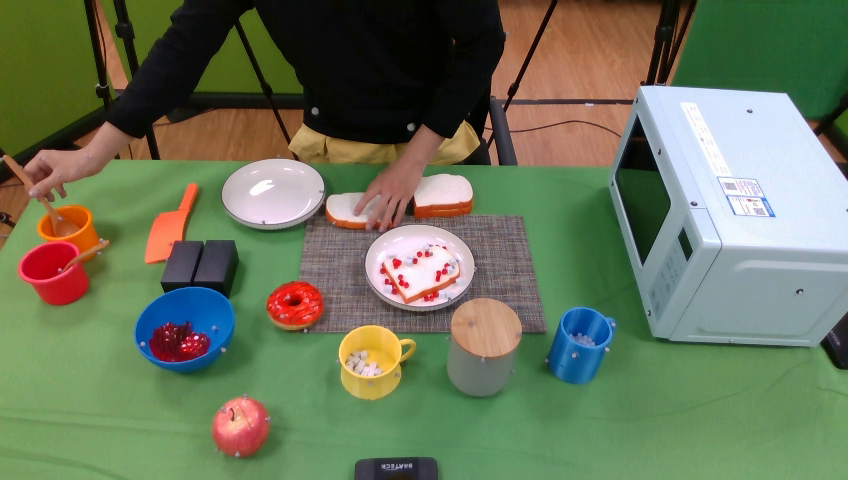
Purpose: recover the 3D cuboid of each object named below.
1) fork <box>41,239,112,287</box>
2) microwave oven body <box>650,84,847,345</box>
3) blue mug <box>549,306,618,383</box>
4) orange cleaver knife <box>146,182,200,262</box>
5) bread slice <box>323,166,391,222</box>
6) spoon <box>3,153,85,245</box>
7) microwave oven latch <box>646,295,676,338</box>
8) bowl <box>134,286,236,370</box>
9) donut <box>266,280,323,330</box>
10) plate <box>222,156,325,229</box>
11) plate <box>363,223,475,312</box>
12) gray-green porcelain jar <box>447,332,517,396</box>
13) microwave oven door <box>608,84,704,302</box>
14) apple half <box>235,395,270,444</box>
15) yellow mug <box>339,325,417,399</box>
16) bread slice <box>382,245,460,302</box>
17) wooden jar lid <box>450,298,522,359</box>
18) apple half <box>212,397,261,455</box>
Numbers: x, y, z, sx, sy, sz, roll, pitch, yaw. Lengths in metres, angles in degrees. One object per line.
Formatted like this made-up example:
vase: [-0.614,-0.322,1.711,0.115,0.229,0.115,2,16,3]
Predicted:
fork: [-0.591,0.040,1.028,0.207,0.019,0.028,-27,36,29]
microwave oven body: [0.569,-0.054,1.116,0.326,0.261,0.439,2,46,-1]
blue mug: [0.269,0.167,0.997,0.116,0.106,0.082,-19,51,-21]
orange cleaver knife: [-0.494,-0.039,1.199,0.077,0.012,0.210,-3,48,2]
bread slice: [-0.140,-0.091,1.223,0.134,0.018,0.106,-19,51,6]
spoon: [-0.684,-0.073,1.093,0.021,0.194,0.041,6,41,46]
microwave oven latch: [0.413,0.133,1.060,0.030,0.029,0.078,4,46,1]
bowl: [-0.377,0.156,0.981,0.151,0.077,0.150,2,46,-2]
donut: [-0.223,0.113,1.051,0.099,0.048,0.098,2,46,-2]
plate: [-0.308,-0.095,1.251,0.209,0.038,0.208,2,47,-2]
plate: [-0.009,0.054,1.126,0.208,0.039,0.206,2,46,-2]
gray-green porcelain jar: [0.090,0.178,0.960,0.106,0.127,0.105,2,46,-2]
microwave oven door: [0.424,-0.096,1.137,0.039,0.245,0.353,3,46,-1]
apple half: [-0.245,0.260,0.893,0.033,0.082,0.081,-29,55,-22]
yellow mug: [-0.072,0.191,0.978,0.131,0.064,0.099,-17,49,-20]
bread slice: [0.000,0.054,1.128,0.132,0.019,0.104,-20,51,-22]
wooden jar lid: [0.093,0.135,0.914,0.108,0.021,0.107,3,48,-3]
apple half: [-0.276,0.277,0.877,0.053,0.075,0.080,-29,58,-21]
